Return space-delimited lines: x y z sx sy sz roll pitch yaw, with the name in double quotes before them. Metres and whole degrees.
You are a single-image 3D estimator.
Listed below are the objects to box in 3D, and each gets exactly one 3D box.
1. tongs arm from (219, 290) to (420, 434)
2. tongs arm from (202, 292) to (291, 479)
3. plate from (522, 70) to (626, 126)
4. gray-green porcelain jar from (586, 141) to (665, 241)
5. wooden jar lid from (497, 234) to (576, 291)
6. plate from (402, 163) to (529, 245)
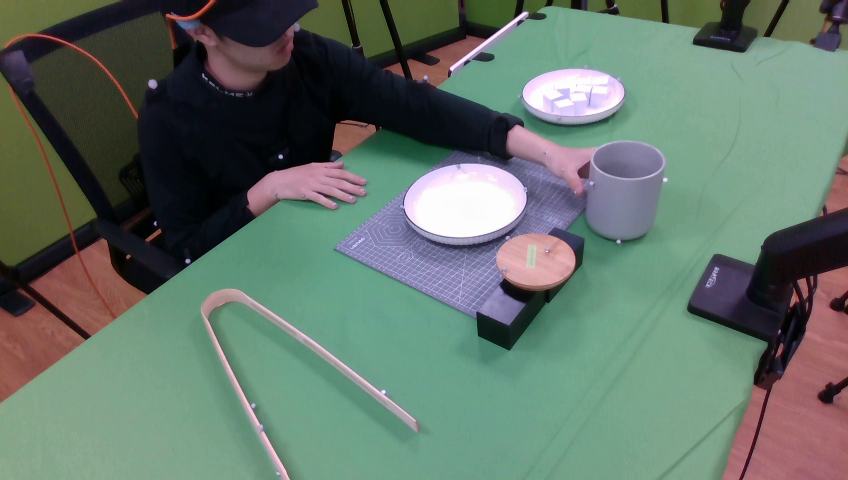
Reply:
"tongs arm" -0.152 0.151 0.812 0.384 0.028 0.028 26 52 33
"tongs arm" -0.216 0.187 0.772 0.051 0.026 0.381 -27 43 -24
"plate" 0.308 -0.289 1.251 0.207 0.039 0.206 -4 40 4
"gray-green porcelain jar" 0.305 -0.071 0.927 0.106 0.127 0.105 -4 41 4
"wooden jar lid" 0.155 0.032 0.834 0.108 0.021 0.108 -5 40 5
"plate" 0.069 -0.056 1.008 0.209 0.038 0.208 -4 40 4
